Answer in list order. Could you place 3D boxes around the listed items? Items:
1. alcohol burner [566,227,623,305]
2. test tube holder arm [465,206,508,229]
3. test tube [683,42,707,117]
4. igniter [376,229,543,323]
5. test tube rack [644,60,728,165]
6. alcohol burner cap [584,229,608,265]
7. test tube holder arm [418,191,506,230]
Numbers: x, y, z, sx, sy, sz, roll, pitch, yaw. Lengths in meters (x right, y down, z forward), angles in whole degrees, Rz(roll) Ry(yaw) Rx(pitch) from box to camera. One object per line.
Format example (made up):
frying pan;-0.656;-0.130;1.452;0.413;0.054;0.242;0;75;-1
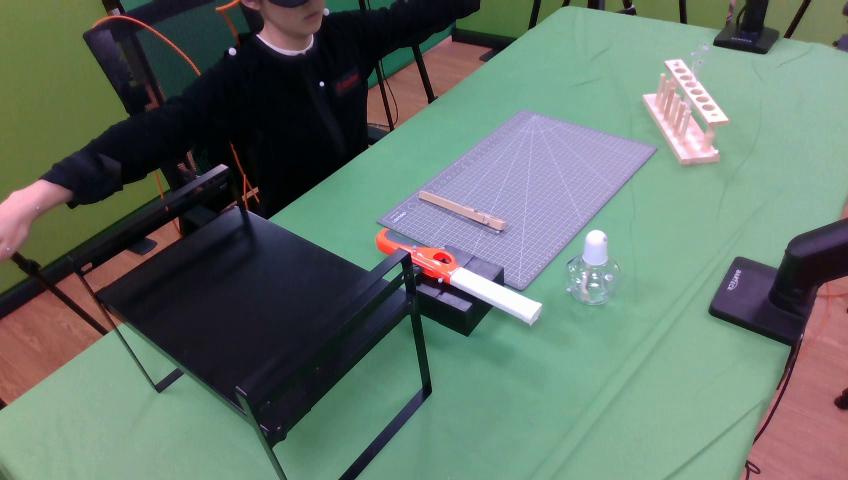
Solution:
alcohol burner;0.236;0.031;0.833;0.078;0.119;0.077;-6;39;5
test tube holder arm;0.100;-0.038;1.005;0.087;0.015;0.010;23;14;32
test tube;0.497;-0.292;1.114;0.017;0.151;0.017;-4;44;4
igniter;0.038;0.044;0.843;0.274;0.025;0.057;25;47;29
test tube rack;0.485;-0.246;1.140;0.067;0.085;0.241;-5;41;4
alcohol burner cap;0.233;0.007;0.814;0.034;0.048;0.033;-4;40;4
test tube holder arm;0.061;-0.052;1.024;0.177;0.015;0.013;23;14;31
